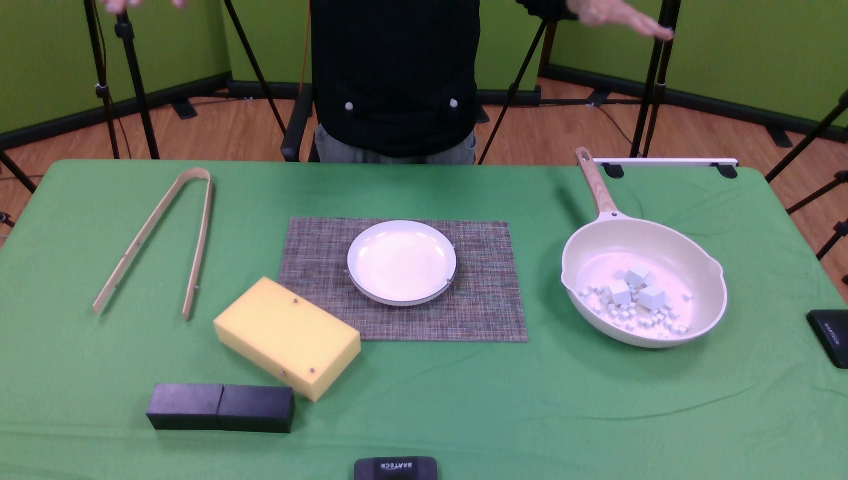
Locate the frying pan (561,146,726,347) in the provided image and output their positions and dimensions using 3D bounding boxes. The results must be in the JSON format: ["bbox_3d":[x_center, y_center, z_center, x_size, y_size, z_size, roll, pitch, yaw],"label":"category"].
[{"bbox_3d":[0.378,-0.005,1.175,0.307,0.103,0.484,-4,55,-9],"label":"frying pan"}]

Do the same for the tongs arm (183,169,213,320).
[{"bbox_3d":[-0.436,-0.006,1.166,0.028,0.028,0.385,-5,46,-6],"label":"tongs arm"}]

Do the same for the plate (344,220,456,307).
[{"bbox_3d":[-0.045,0.047,1.133,0.208,0.039,0.206,3,46,-2],"label":"plate"}]

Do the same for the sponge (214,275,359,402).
[{"bbox_3d":[-0.224,0.158,0.998,0.206,0.061,0.118,27,52,18],"label":"sponge"}]

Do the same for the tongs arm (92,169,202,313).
[{"bbox_3d":[-0.518,-0.012,1.161,0.051,0.026,0.382,7,45,1],"label":"tongs arm"}]
